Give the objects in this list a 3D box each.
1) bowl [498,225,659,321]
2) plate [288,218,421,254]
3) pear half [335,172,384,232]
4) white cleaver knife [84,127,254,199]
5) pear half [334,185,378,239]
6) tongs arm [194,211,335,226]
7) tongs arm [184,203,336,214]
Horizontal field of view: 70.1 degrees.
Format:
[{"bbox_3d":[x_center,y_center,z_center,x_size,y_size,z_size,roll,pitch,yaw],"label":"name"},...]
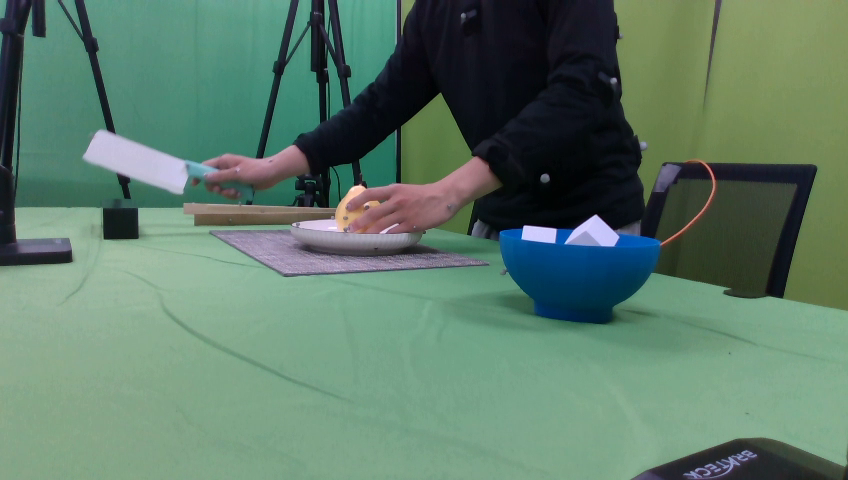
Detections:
[{"bbox_3d":[0.144,0.031,0.585,0.151,0.077,0.151,2,7,0],"label":"bowl"},{"bbox_3d":[-0.109,-0.007,0.956,0.208,0.039,0.207,2,7,0],"label":"plate"},{"bbox_3d":[-0.098,-0.050,0.940,0.077,0.110,0.055,-7,11,-25],"label":"pear half"},{"bbox_3d":[-0.445,-0.123,1.084,0.288,0.066,0.021,20,-1,-29],"label":"white cleaver knife"},{"bbox_3d":[-0.113,-0.046,0.974,0.071,0.088,0.031,-5,12,-26],"label":"pear half"},{"bbox_3d":[-0.298,-0.049,1.307,0.390,0.028,0.028,-3,8,-38],"label":"tongs arm"},{"bbox_3d":[-0.337,-0.065,1.376,0.387,0.026,0.050,0,10,-25],"label":"tongs arm"}]
